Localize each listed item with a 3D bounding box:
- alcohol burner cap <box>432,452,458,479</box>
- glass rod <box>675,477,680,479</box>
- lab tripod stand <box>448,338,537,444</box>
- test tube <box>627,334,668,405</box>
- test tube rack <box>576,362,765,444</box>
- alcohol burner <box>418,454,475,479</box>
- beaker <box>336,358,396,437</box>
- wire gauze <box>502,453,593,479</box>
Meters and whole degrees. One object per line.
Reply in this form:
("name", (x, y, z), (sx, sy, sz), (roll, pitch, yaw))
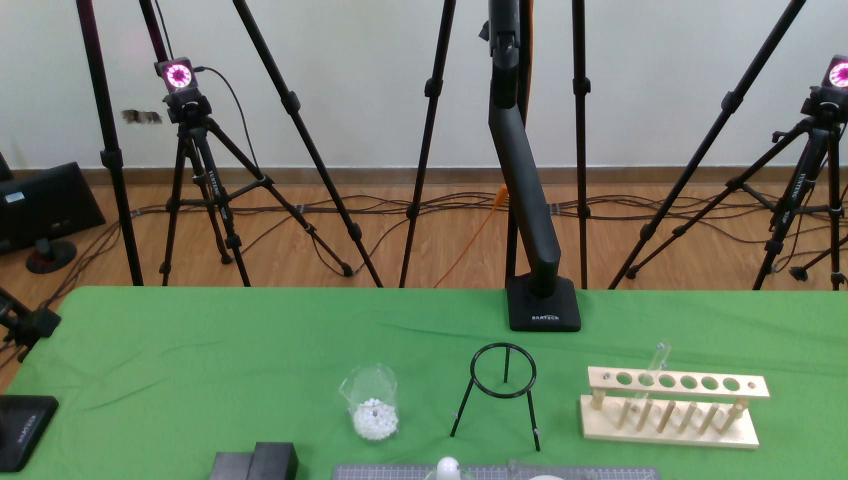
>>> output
("alcohol burner cap", (0.026, 0.282, 0.749), (0.034, 0.048, 0.033), (0, 37, 1))
("glass rod", (0.332, 0.392, 0.753), (0.008, 0.008, 0.198), (4, 45, 6))
("lab tripod stand", (0.103, 0.217, 0.860), (0.148, 0.133, 0.147), (-1, 45, 2))
("test tube", (0.312, 0.185, 0.850), (0.017, 0.151, 0.017), (2, 42, -2))
("test tube rack", (0.349, 0.234, 0.869), (0.242, 0.086, 0.066), (2, 43, 5))
("alcohol burner", (0.028, 0.309, 0.772), (0.078, 0.120, 0.077), (-3, 43, 3))
("beaker", (-0.080, 0.232, 0.875), (0.084, 0.101, 0.073), (-6, 43, -3))
("wire gauze", (0.163, 0.348, 0.805), (0.125, 0.011, 0.120), (8, 45, 10))
